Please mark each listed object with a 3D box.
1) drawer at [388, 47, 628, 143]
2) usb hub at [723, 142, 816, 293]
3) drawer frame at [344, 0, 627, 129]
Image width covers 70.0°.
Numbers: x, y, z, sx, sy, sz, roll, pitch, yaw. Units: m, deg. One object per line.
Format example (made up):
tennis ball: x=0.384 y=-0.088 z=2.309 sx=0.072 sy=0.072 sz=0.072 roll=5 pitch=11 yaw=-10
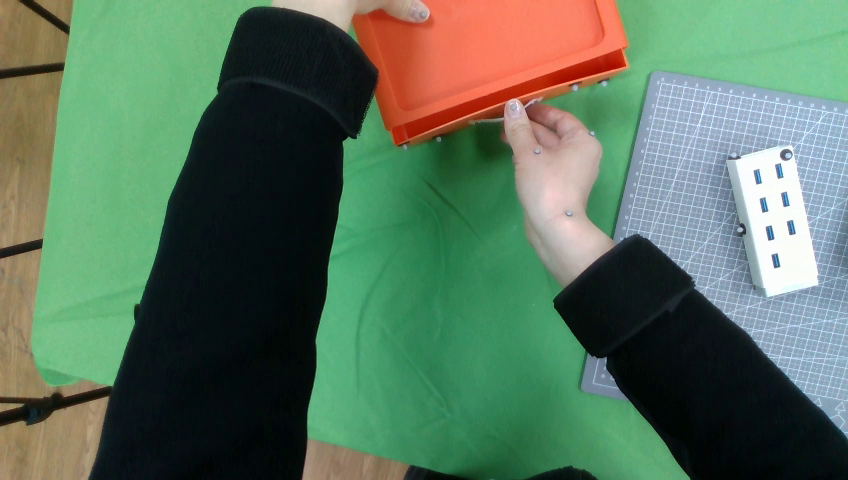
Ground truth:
drawer: x=0.038 y=-0.207 z=0.498 sx=0.194 sy=0.073 sz=0.212 roll=-17 pitch=96 yaw=8
usb hub: x=0.303 y=-0.020 z=0.530 sx=0.049 sy=0.025 sz=0.125 roll=-16 pitch=98 yaw=5
drawer frame: x=0.032 y=-0.220 z=0.494 sx=0.201 sy=0.082 sz=0.214 roll=-18 pitch=96 yaw=7
